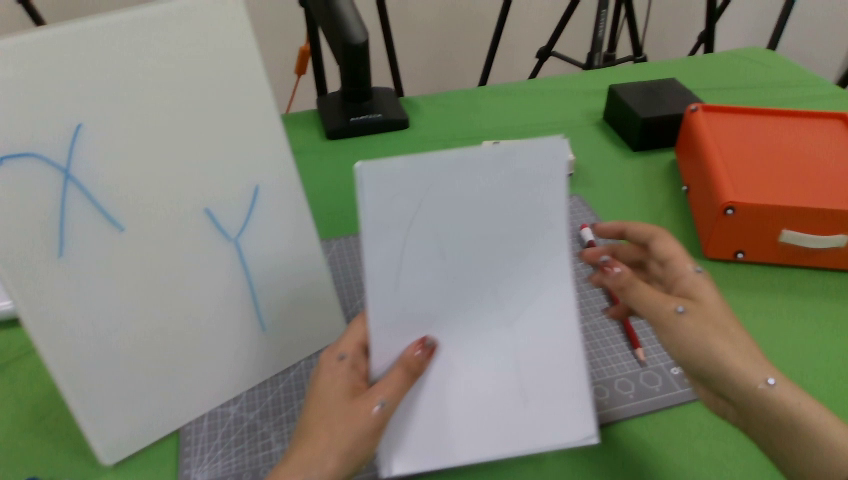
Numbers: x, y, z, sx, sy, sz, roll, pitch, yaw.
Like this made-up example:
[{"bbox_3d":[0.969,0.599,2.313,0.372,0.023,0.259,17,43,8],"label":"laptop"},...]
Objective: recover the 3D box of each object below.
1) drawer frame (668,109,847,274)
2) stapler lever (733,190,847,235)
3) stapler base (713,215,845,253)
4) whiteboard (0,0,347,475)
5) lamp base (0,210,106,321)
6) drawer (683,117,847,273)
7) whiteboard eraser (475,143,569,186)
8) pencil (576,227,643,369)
[{"bbox_3d":[0.398,-0.061,0.678,0.201,0.083,0.212,4,38,7],"label":"drawer frame"},{"bbox_3d":[0.381,-0.028,0.626,0.118,0.040,0.026,4,53,4],"label":"stapler lever"},{"bbox_3d":[0.380,-0.012,0.646,0.130,0.024,0.041,3,53,4],"label":"stapler base"},{"bbox_3d":[-0.227,-0.016,0.499,0.217,0.307,0.142,-26,26,-27],"label":"whiteboard"},{"bbox_3d":[-0.428,-0.037,0.582,0.178,0.182,0.160,14,41,22],"label":"lamp base"},{"bbox_3d":[0.398,-0.058,0.676,0.194,0.074,0.210,5,39,8],"label":"drawer"},{"bbox_3d":[0.122,-0.094,0.757,0.113,0.042,0.055,0,40,0],"label":"whiteboard eraser"},{"bbox_3d":[0.181,0.050,0.596,0.012,0.012,0.192,-4,40,-4],"label":"pencil"}]
